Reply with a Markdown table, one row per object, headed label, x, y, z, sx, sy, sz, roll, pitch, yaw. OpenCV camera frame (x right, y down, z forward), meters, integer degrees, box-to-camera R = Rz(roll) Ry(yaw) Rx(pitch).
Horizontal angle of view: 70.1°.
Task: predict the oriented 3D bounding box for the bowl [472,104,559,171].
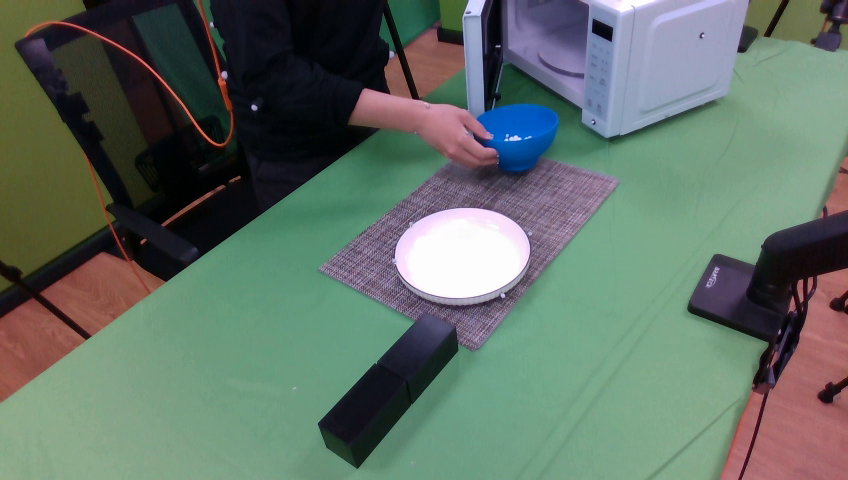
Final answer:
| label | x | y | z | sx | sy | sz | roll | pitch | yaw |
| --- | --- | --- | --- | --- | --- | --- | --- | --- | --- |
| bowl | 0.163 | -0.174 | 1.067 | 0.151 | 0.077 | 0.150 | -7 | 35 | 5 |

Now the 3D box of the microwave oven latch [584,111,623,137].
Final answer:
| label | x | y | z | sx | sy | sz | roll | pitch | yaw |
| --- | --- | --- | --- | --- | --- | --- | --- | --- | --- |
| microwave oven latch | 0.337 | -0.222 | 1.142 | 0.030 | 0.029 | 0.078 | -21 | 42 | -14 |

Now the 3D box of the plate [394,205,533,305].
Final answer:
| label | x | y | z | sx | sy | sz | roll | pitch | yaw |
| --- | --- | --- | --- | --- | --- | --- | --- | --- | --- |
| plate | 0.059 | 0.025 | 0.915 | 0.207 | 0.039 | 0.206 | -4 | 41 | 4 |

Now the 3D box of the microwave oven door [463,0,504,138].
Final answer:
| label | x | y | z | sx | sy | sz | roll | pitch | yaw |
| --- | --- | --- | --- | --- | --- | --- | --- | --- | --- |
| microwave oven door | 0.125 | -0.403 | 1.226 | 0.039 | 0.245 | 0.355 | 3 | 42 | 12 |

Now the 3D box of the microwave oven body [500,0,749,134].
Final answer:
| label | x | y | z | sx | sy | sz | roll | pitch | yaw |
| --- | --- | --- | --- | --- | --- | --- | --- | --- | --- |
| microwave oven body | 0.382 | -0.444 | 1.246 | 0.327 | 0.261 | 0.437 | -22 | 42 | -16 |
